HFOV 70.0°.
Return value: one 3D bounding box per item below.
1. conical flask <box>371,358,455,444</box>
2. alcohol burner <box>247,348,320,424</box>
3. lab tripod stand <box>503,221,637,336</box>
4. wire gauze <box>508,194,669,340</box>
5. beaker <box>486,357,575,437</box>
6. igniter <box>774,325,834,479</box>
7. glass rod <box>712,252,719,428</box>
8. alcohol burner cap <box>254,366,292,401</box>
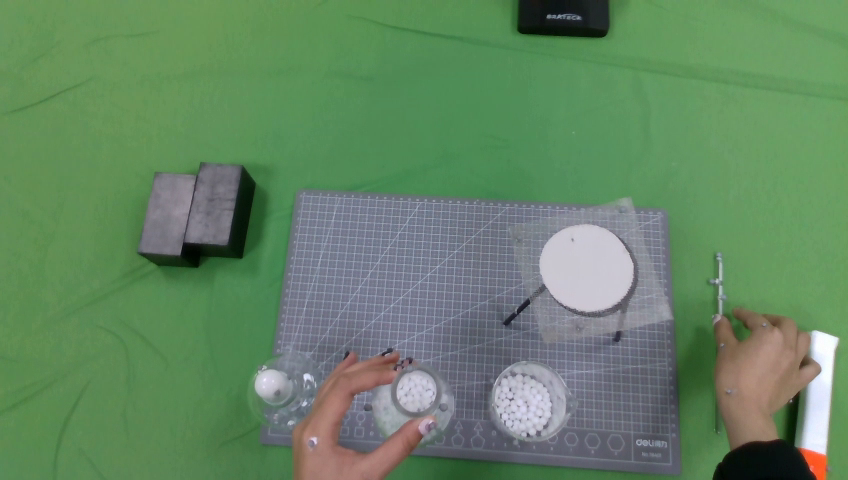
[{"bbox_3d":[-0.008,0.126,0.494,0.075,0.122,0.075,1,71,-2],"label":"conical flask"},{"bbox_3d":[-0.147,0.148,0.620,0.078,0.119,0.077,0,74,0],"label":"alcohol burner"},{"bbox_3d":[0.156,0.047,0.634,0.148,0.132,0.147,-1,74,2],"label":"lab tripod stand"},{"bbox_3d":[0.153,0.025,0.570,0.125,0.011,0.120,-13,74,-1],"label":"wire gauze"},{"bbox_3d":[0.103,0.162,0.617,0.084,0.101,0.073,2,72,2],"label":"beaker"},{"bbox_3d":[0.396,0.224,0.631,0.057,0.025,0.275,18,74,-4],"label":"igniter"},{"bbox_3d":[0.326,0.108,0.678,0.008,0.008,0.198,8,72,4],"label":"glass rod"},{"bbox_3d":[-0.147,0.136,0.586,0.034,0.048,0.033,1,71,-3],"label":"alcohol burner cap"}]
